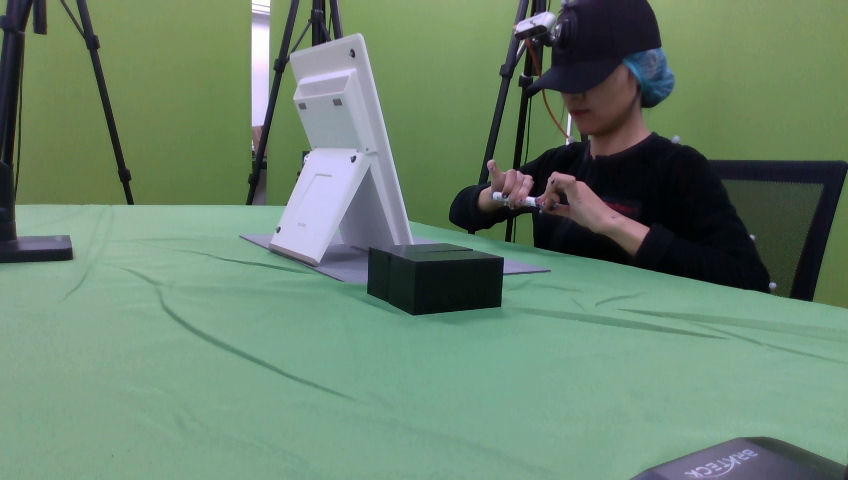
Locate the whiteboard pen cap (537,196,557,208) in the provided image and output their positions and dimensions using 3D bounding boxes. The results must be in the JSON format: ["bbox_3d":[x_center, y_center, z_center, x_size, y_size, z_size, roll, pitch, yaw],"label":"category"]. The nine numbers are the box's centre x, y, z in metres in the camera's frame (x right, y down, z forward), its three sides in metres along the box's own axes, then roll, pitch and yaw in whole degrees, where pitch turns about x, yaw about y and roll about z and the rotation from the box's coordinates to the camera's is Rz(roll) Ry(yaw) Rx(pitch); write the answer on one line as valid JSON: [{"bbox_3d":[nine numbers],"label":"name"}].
[{"bbox_3d":[0.210,-0.064,1.029,0.018,0.018,0.033,-3,12,-36],"label":"whiteboard pen cap"}]

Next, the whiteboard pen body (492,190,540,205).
[{"bbox_3d":[0.175,-0.074,1.076,0.017,0.017,0.140,-4,12,-38],"label":"whiteboard pen body"}]

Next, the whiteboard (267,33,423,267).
[{"bbox_3d":[-0.153,-0.098,0.819,0.144,0.305,0.216,-25,21,-29],"label":"whiteboard"}]
